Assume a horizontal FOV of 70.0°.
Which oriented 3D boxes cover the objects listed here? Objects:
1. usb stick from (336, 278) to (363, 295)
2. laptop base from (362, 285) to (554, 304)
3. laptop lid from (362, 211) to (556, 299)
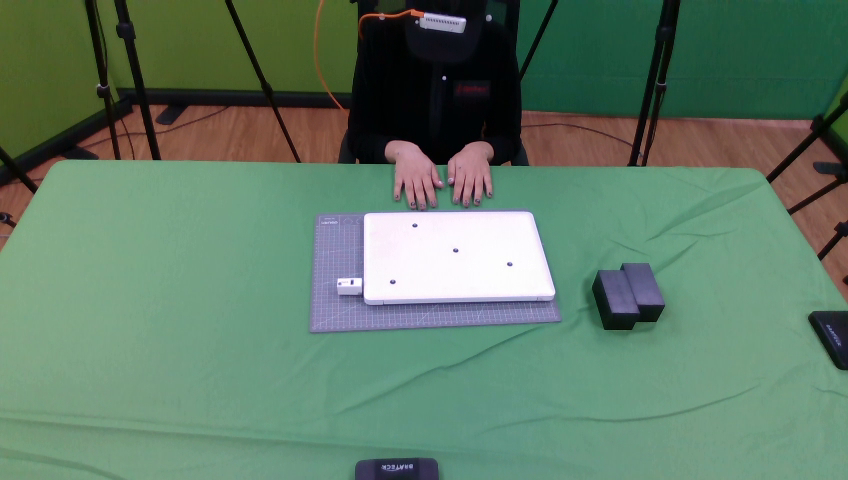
[{"bbox_3d":[-0.128,0.083,1.094,0.059,0.027,0.021,2,44,-5],"label":"usb stick"},{"bbox_3d":[0.059,0.032,1.174,0.355,0.023,0.234,-1,43,-5],"label":"laptop base"},{"bbox_3d":[0.059,0.022,1.168,0.357,0.013,0.240,0,44,-4],"label":"laptop lid"}]
